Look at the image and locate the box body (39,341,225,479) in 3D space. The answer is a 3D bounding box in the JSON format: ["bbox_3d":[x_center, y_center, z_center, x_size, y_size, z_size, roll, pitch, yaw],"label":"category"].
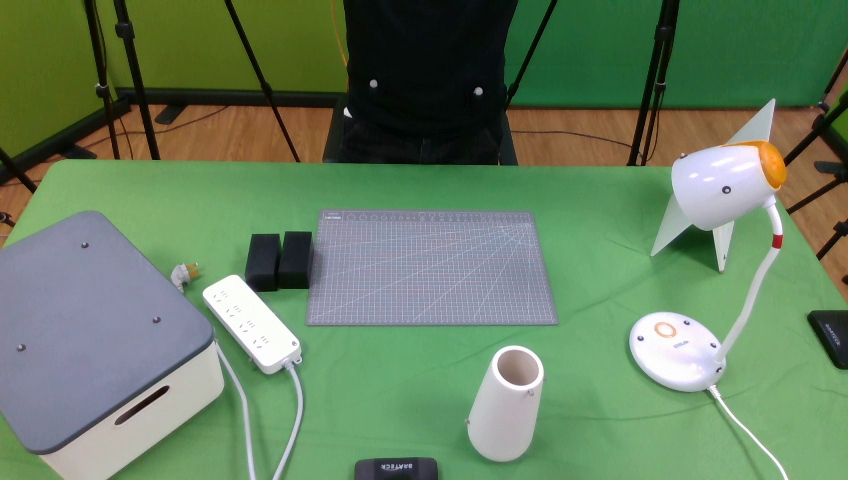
[{"bbox_3d":[-0.506,0.155,0.916,0.362,0.161,0.254,35,54,26],"label":"box body"}]

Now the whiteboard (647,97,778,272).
[{"bbox_3d":[0.602,-0.079,1.162,0.144,0.306,0.216,35,51,2],"label":"whiteboard"}]

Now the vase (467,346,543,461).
[{"bbox_3d":[0.116,0.234,0.861,0.098,0.201,0.097,1,47,-1],"label":"vase"}]

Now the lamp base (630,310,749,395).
[{"bbox_3d":[0.447,0.142,0.984,0.161,0.181,0.178,-24,55,-24],"label":"lamp base"}]

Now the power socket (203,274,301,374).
[{"bbox_3d":[-0.297,0.140,1.035,0.072,0.033,0.225,-32,57,-29],"label":"power socket"}]

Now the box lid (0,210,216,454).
[{"bbox_3d":[-0.504,0.102,0.863,0.369,0.015,0.263,35,53,26],"label":"box lid"}]

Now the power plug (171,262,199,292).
[{"bbox_3d":[-0.428,0.075,1.100,0.053,0.035,0.072,-20,90,-25],"label":"power plug"}]

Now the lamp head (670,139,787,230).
[{"bbox_3d":[0.415,-0.079,0.812,0.113,0.123,0.112,13,70,-37],"label":"lamp head"}]

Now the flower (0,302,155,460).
[{"bbox_3d":[-0.553,0.222,0.944,0.361,0.038,0.044,39,62,6],"label":"flower"}]
